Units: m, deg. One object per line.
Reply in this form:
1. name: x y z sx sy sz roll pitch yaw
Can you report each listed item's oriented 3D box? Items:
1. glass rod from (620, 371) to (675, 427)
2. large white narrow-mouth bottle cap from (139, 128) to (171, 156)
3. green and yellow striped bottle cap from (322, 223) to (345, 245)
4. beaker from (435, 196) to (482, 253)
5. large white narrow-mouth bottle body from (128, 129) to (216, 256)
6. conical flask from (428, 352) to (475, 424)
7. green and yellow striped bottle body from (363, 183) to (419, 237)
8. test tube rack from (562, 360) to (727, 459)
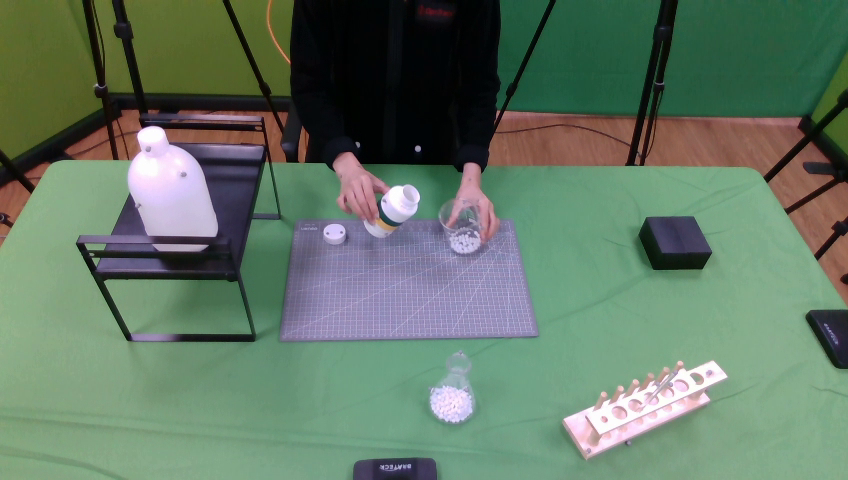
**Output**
1. glass rod: 0.316 0.230 0.863 0.008 0.200 0.008 3 54 -3
2. large white narrow-mouth bottle cap: -0.359 -0.131 0.808 0.038 0.024 0.037 3 47 -3
3. green and yellow striped bottle cap: -0.179 -0.013 1.198 0.045 0.020 0.045 2 49 -2
4. beaker: 0.072 -0.026 1.157 0.084 0.101 0.074 14 64 22
5. large white narrow-mouth bottle body: -0.366 -0.073 0.872 0.102 0.195 0.101 3 47 -3
6. conical flask: 0.046 0.220 0.920 0.075 0.122 0.075 2 46 -2
7. green and yellow striped bottle body: -0.058 -0.059 1.113 0.063 0.120 0.063 20 52 -29
8. test tube rack: 0.341 0.247 0.940 0.243 0.085 0.066 -16 49 -18
